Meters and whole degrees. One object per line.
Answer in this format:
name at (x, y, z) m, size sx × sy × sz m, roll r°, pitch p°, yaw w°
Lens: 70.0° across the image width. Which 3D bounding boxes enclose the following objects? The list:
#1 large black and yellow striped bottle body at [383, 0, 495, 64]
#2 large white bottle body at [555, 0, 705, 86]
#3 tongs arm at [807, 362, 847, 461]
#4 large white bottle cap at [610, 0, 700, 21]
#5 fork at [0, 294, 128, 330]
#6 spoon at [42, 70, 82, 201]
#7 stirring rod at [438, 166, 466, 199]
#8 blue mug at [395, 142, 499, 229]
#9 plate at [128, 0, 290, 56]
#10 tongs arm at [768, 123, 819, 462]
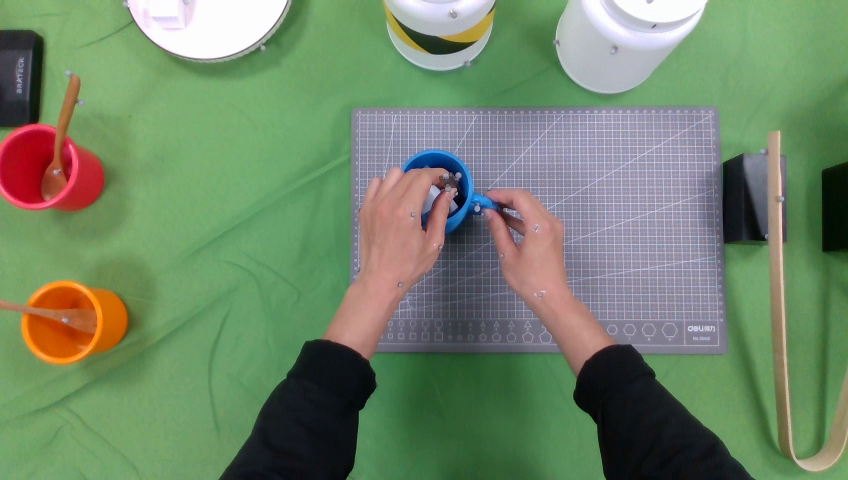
large black and yellow striped bottle body at (0.017, -0.287, 0.665) m, size 0.131 × 0.184 × 0.130 m, roll 0°, pitch 85°, yaw 1°
large white bottle body at (0.223, -0.259, 0.660) m, size 0.130 × 0.185 × 0.130 m, roll 0°, pitch 86°, yaw 1°
tongs arm at (0.494, 0.063, 0.676) m, size 0.028 × 0.027 × 0.388 m, roll 8°, pitch 98°, yaw -7°
large white bottle cap at (0.221, -0.267, 0.576) m, size 0.115 × 0.018 × 0.114 m, roll 0°, pitch 86°, yaw 0°
fork at (-0.434, 0.070, 0.665) m, size 0.209 × 0.018 × 0.028 m, roll 22°, pitch 85°, yaw -41°
spoon at (-0.405, -0.113, 0.679) m, size 0.041 × 0.021 × 0.194 m, roll 46°, pitch 131°, yaw 7°
stirring rod at (0.032, -0.058, 0.634) m, size 0.014 × 0.176 × 0.006 m, roll -24°, pitch 83°, yaw 7°
blue mug at (0.028, -0.054, 0.686) m, size 0.116 × 0.106 × 0.082 m, roll 13°, pitch 86°, yaw 2°
plate at (-0.259, -0.324, 0.745) m, size 0.208 × 0.039 × 0.207 m, roll 0°, pitch 86°, yaw 1°
tongs arm at (0.412, 0.063, 0.675) m, size 0.051 × 0.026 × 0.385 m, roll -5°, pitch 98°, yaw -2°
